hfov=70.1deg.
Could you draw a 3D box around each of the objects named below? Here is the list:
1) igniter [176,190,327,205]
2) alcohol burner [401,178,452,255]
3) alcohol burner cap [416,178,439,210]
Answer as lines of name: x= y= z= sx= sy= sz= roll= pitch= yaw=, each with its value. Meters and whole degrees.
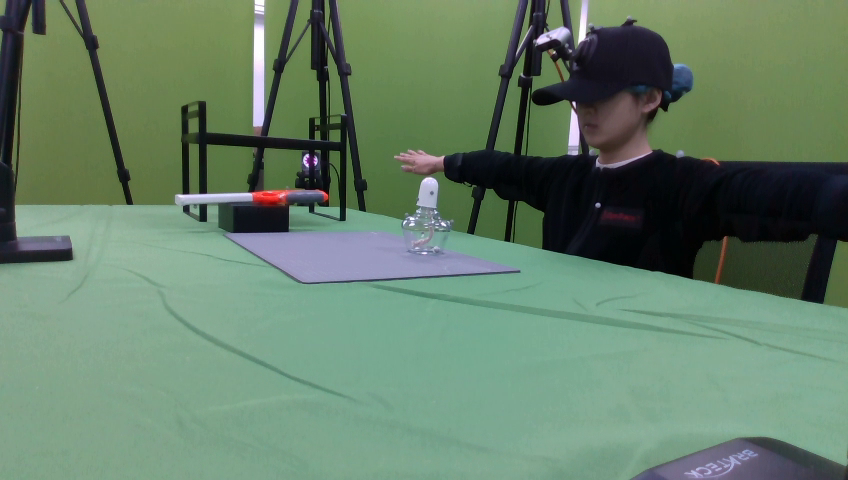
igniter: x=-0.316 y=-0.080 z=1.137 sx=0.278 sy=0.025 sz=0.057 roll=-4 pitch=12 yaw=-33
alcohol burner: x=0.005 y=-0.036 z=0.923 sx=0.078 sy=0.119 sz=0.078 roll=5 pitch=7 yaw=0
alcohol burner cap: x=0.007 y=-0.071 z=0.917 sx=0.034 sy=0.048 sz=0.034 roll=6 pitch=6 yaw=0
